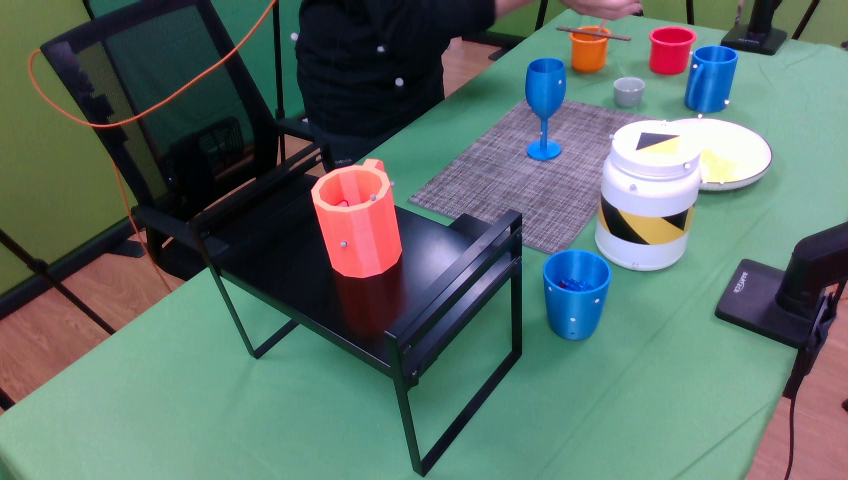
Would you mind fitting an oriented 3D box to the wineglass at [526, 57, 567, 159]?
[{"bbox_3d":[0.221,-0.236,1.097,0.074,0.173,0.073,-5,41,4],"label":"wineglass"}]

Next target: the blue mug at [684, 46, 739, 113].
[{"bbox_3d":[0.556,-0.311,1.190,0.117,0.106,0.081,-32,46,-25],"label":"blue mug"}]

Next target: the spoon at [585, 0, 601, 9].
[{"bbox_3d":[0.322,-0.531,1.132,0.022,0.193,0.041,-4,6,-34],"label":"spoon"}]

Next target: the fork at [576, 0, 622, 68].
[{"bbox_3d":[0.409,-0.484,1.381,0.028,0.019,0.207,37,101,46],"label":"fork"}]

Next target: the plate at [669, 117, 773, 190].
[{"bbox_3d":[0.495,-0.148,1.063,0.209,0.038,0.208,-5,40,4],"label":"plate"}]

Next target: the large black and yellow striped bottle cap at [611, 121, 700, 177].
[{"bbox_3d":[0.315,-0.126,0.823,0.115,0.019,0.114,-4,42,4],"label":"large black and yellow striped bottle cap"}]

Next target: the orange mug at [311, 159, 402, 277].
[{"bbox_3d":[-0.069,-0.034,0.694,0.083,0.101,0.126,5,46,16],"label":"orange mug"}]

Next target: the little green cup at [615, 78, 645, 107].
[{"bbox_3d":[0.426,-0.306,1.257,0.061,0.039,0.061,-4,40,4],"label":"little green cup"}]

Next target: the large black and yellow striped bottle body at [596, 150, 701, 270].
[{"bbox_3d":[0.323,-0.062,0.877,0.131,0.185,0.130,-4,40,4],"label":"large black and yellow striped bottle body"}]

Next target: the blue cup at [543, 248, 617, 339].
[{"bbox_3d":[0.199,0.076,0.797,0.092,0.100,0.092,-4,39,4],"label":"blue cup"}]

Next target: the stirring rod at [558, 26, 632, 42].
[{"bbox_3d":[0.381,-0.462,1.356,0.175,0.006,0.014,22,48,30],"label":"stirring rod"}]
